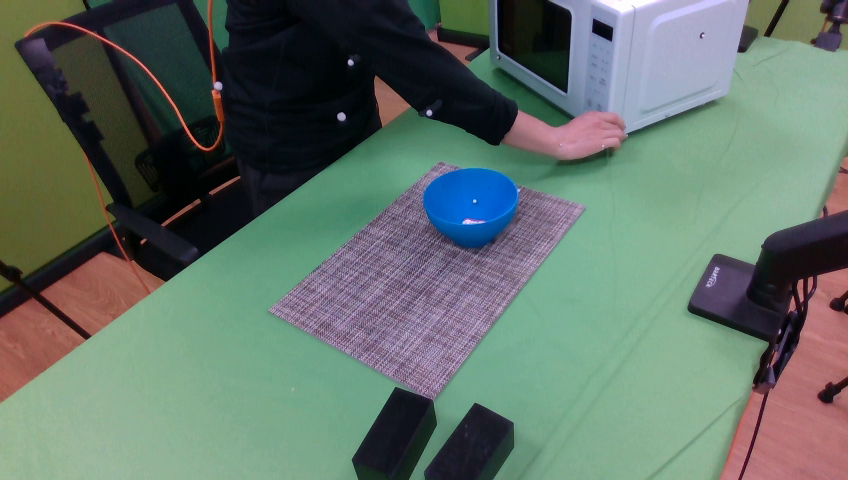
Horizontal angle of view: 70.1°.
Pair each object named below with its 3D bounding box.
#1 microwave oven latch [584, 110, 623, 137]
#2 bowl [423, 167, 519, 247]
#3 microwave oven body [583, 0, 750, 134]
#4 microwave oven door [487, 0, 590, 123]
[{"bbox_3d":[0.337,-0.223,1.142,0.030,0.029,0.078,-21,42,-15],"label":"microwave oven latch"},{"bbox_3d":[0.076,-0.042,0.959,0.151,0.077,0.150,-4,41,4],"label":"bowl"},{"bbox_3d":[0.382,-0.445,1.246,0.327,0.261,0.437,-22,42,-16],"label":"microwave oven body"},{"bbox_3d":[0.232,-0.420,1.231,0.039,0.245,0.352,-22,43,-16],"label":"microwave oven door"}]
